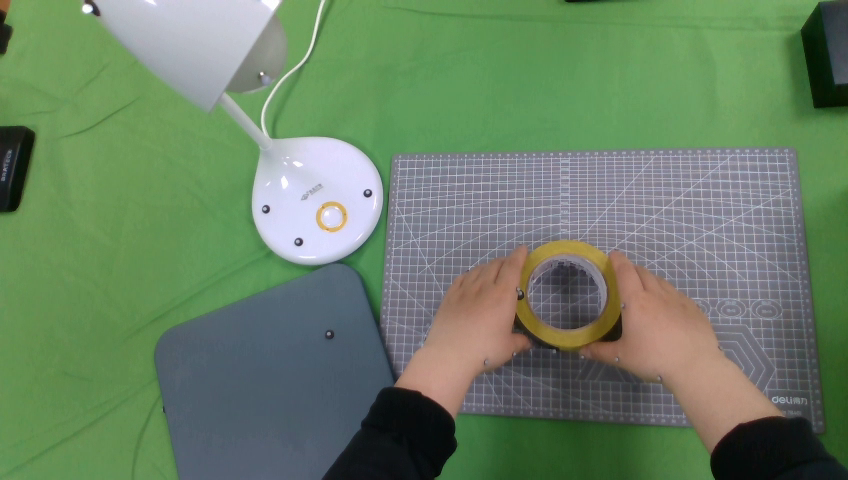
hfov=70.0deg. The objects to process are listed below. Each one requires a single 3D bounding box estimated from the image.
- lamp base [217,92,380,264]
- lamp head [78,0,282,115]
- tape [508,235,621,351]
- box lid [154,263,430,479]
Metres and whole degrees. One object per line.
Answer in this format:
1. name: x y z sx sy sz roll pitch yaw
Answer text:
1. lamp base: -0.153 -0.077 0.655 0.178 0.181 0.160 40 84 20
2. lamp head: -0.153 -0.154 0.366 0.123 0.112 0.112 31 80 -18
3. tape: 0.145 0.055 0.632 0.117 0.053 0.116 -2 74 9
4. box lid: -0.143 0.225 0.658 0.263 0.015 0.369 -22 73 3
